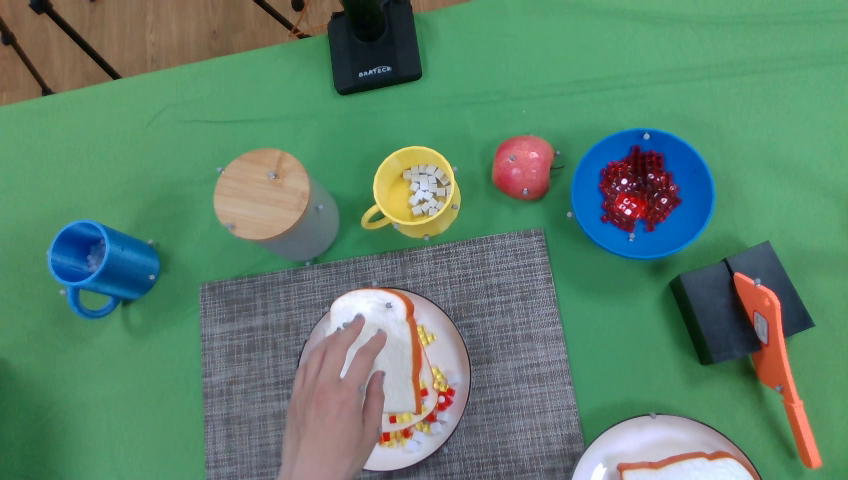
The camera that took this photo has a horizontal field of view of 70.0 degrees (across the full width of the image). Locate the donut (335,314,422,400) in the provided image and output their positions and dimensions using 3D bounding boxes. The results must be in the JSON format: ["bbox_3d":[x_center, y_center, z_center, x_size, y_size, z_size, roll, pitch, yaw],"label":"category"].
[{"bbox_3d":[-0.052,0.132,0.688,0.099,0.048,0.098,-2,77,8],"label":"donut"}]

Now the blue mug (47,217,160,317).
[{"bbox_3d":[-0.406,0.041,0.764,0.082,0.106,0.116,11,79,11],"label":"blue mug"}]

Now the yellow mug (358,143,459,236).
[{"bbox_3d":[-0.023,-0.053,0.746,0.131,0.064,0.099,-32,74,2],"label":"yellow mug"}]

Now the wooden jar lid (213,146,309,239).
[{"bbox_3d":[-0.179,-0.051,0.673,0.108,0.021,0.108,-2,74,7],"label":"wooden jar lid"}]

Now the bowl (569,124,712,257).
[{"bbox_3d":[0.241,-0.048,0.695,0.151,0.077,0.150,-2,77,9],"label":"bowl"}]

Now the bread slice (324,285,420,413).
[{"bbox_3d":[-0.058,0.113,0.630,0.104,0.019,0.131,-3,87,17],"label":"bread slice"}]

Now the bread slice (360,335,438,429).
[{"bbox_3d":[-0.042,0.151,0.712,0.107,0.018,0.133,-27,76,3],"label":"bread slice"}]

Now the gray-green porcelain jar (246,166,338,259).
[{"bbox_3d":[-0.167,-0.036,0.734,0.106,0.127,0.105,-2,76,9],"label":"gray-green porcelain jar"}]

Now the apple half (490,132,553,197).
[{"bbox_3d":[0.119,-0.098,0.741,0.074,0.054,0.080,13,80,14],"label":"apple half"}]

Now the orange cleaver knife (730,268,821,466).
[{"bbox_3d":[0.364,0.130,0.633,0.012,0.077,0.211,-20,96,-3],"label":"orange cleaver knife"}]

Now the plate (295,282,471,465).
[{"bbox_3d":[-0.047,0.154,0.712,0.207,0.039,0.206,-2,77,9],"label":"plate"}]

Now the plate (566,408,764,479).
[{"bbox_3d":[0.252,0.283,0.638,0.209,0.038,0.208,-2,77,9],"label":"plate"}]
